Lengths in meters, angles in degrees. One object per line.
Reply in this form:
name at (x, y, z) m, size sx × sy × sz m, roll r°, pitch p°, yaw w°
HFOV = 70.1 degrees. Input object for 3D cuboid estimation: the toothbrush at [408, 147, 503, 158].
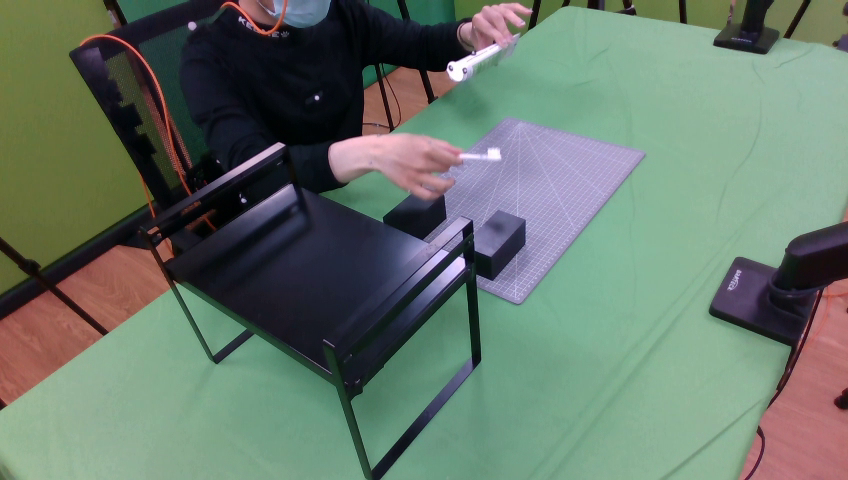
toothbrush at (0.046, -0.140, 0.965) m, size 0.180 × 0.017 × 0.014 m, roll 7°, pitch 27°, yaw 37°

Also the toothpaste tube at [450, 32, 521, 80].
toothpaste tube at (0.109, -0.326, 1.080) m, size 0.166 × 0.055 × 0.034 m, roll -33°, pitch 76°, yaw -28°

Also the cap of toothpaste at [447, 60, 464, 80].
cap of toothpaste at (0.052, -0.286, 1.022) m, size 0.011 × 0.037 × 0.037 m, roll -20°, pitch 24°, yaw 46°
